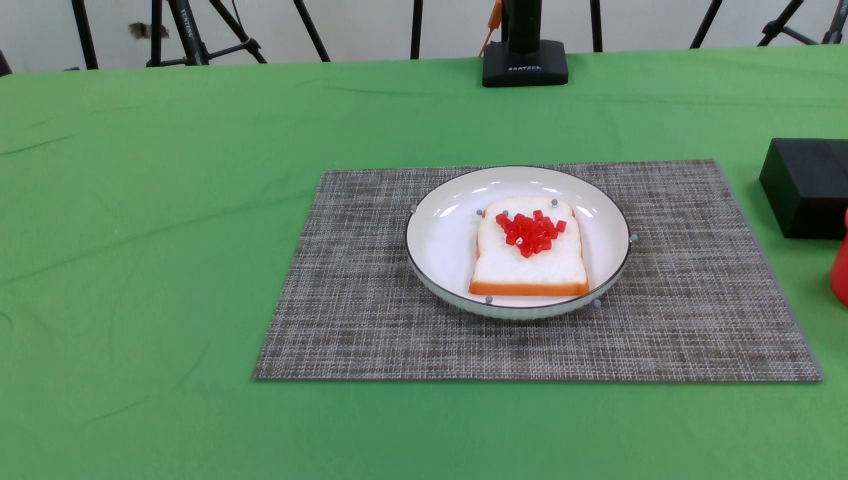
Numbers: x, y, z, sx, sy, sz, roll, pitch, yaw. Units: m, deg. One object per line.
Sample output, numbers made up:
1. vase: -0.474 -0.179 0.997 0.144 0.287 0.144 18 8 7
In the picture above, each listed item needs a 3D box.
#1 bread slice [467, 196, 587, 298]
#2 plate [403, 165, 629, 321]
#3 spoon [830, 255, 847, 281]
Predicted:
1. bread slice: 0.097 0.002 0.578 0.105 0.019 0.130 1 42 7
2. plate: 0.084 0.002 0.577 0.209 0.038 0.207 -3 41 3
3. spoon: 0.419 0.003 0.463 0.022 0.193 0.041 50 53 -9
